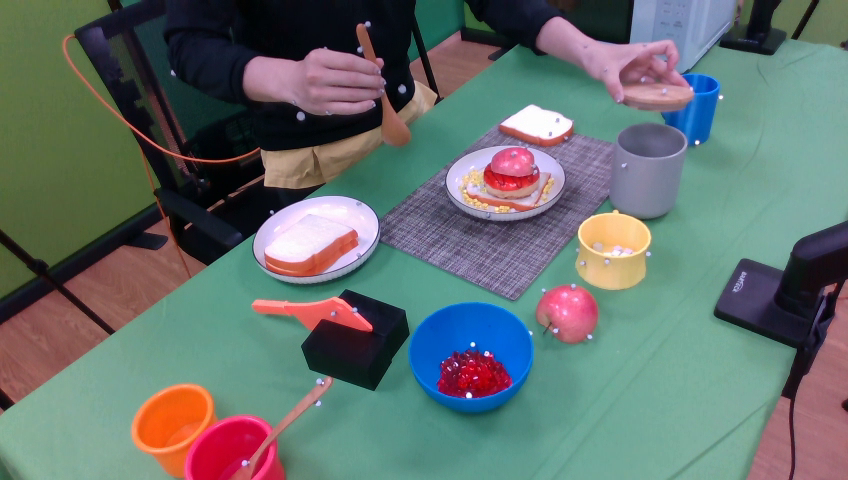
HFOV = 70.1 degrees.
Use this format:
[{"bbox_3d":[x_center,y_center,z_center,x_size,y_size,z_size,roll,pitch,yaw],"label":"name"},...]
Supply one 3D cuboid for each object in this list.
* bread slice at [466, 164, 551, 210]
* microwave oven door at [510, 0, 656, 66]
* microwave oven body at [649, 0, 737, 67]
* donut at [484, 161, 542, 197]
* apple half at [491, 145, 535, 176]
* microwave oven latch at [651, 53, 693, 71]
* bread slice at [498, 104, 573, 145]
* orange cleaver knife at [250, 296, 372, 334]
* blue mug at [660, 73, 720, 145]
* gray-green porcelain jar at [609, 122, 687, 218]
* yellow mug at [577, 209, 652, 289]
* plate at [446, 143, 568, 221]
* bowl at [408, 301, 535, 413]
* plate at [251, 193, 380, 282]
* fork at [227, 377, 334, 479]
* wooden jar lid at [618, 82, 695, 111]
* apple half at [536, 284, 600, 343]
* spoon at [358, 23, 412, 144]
[{"bbox_3d":[0.141,-0.093,1.042,0.133,0.018,0.107,10,43,19],"label":"bread slice"},{"bbox_3d":[0.350,-0.539,1.348,0.353,0.245,0.039,24,50,31],"label":"microwave oven door"},{"bbox_3d":[0.475,-0.602,1.411,0.438,0.261,0.327,23,50,32],"label":"microwave oven body"},{"bbox_3d":[0.149,-0.110,1.016,0.099,0.048,0.098,-4,40,4],"label":"donut"},{"bbox_3d":[0.147,-0.138,0.993,0.081,0.033,0.081,1,38,0],"label":"apple half"},{"bbox_3d":[0.532,-0.386,1.301,0.078,0.029,0.030,27,52,34],"label":"microwave oven latch"},{"bbox_3d":[0.231,-0.231,1.205,0.105,0.019,0.130,-36,47,-29],"label":"bread slice"},{"bbox_3d":[-0.159,0.103,0.828,0.210,0.078,0.012,-4,43,39],"label":"orange cleaver knife"},{"bbox_3d":[0.483,-0.250,1.127,0.082,0.106,0.115,-26,44,-19],"label":"blue mug"},{"bbox_3d":[0.353,-0.106,0.964,0.106,0.127,0.105,-4,41,4],"label":"gray-green porcelain jar"},{"bbox_3d":[0.279,0.004,0.893,0.099,0.064,0.130,5,41,15],"label":"yellow mug"},{"bbox_3d":[0.142,-0.097,1.045,0.207,0.039,0.206,-4,40,4],"label":"plate"},{"bbox_3d":[0.060,0.156,0.739,0.151,0.077,0.150,-4,40,4],"label":"bowl"},{"bbox_3d":[-0.174,-0.001,0.984,0.209,0.038,0.208,-3,40,3],"label":"plate"},{"bbox_3d":[-0.163,0.216,0.647,0.207,0.019,0.028,-49,41,16],"label":"fork"},{"bbox_3d":[0.345,-0.214,0.902,0.108,0.021,0.108,-1,26,1],"label":"wooden jar lid"},{"bbox_3d":[0.196,0.091,0.815,0.075,0.053,0.080,-22,42,-20],"label":"apple half"},{"bbox_3d":[-0.055,-0.196,0.787,0.041,0.195,0.021,-10,46,9],"label":"spoon"}]
